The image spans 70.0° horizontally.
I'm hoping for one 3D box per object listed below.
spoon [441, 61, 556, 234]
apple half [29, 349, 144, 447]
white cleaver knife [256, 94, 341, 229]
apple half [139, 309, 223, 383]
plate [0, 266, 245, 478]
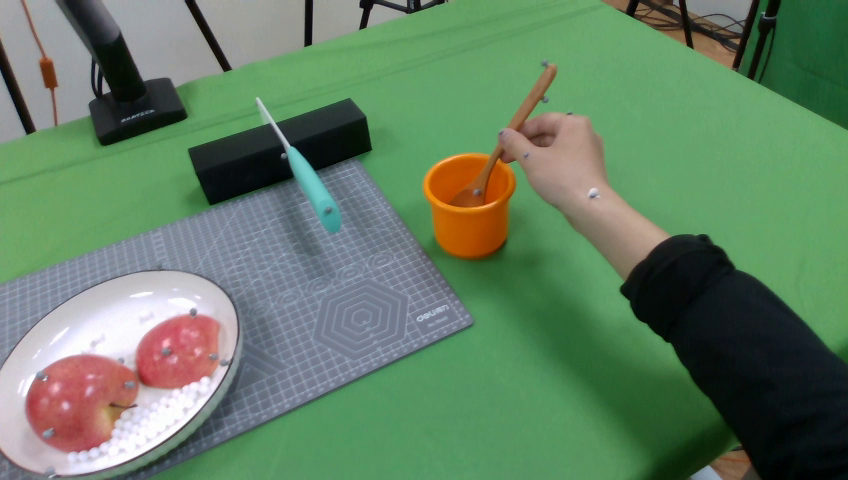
[{"bbox_3d":[0.071,-0.084,0.584,0.041,0.194,0.022,45,32,24],"label":"spoon"},{"bbox_3d":[-0.283,0.122,0.498,0.074,0.054,0.080,10,48,19],"label":"apple half"},{"bbox_3d":[-0.148,-0.093,0.699,0.021,0.066,0.283,-25,44,-12],"label":"white cleaver knife"},{"bbox_3d":[-0.218,0.089,0.537,0.081,0.033,0.080,-2,47,2],"label":"apple half"},{"bbox_3d":[-0.258,0.110,0.529,0.209,0.038,0.207,-3,45,3],"label":"plate"}]
